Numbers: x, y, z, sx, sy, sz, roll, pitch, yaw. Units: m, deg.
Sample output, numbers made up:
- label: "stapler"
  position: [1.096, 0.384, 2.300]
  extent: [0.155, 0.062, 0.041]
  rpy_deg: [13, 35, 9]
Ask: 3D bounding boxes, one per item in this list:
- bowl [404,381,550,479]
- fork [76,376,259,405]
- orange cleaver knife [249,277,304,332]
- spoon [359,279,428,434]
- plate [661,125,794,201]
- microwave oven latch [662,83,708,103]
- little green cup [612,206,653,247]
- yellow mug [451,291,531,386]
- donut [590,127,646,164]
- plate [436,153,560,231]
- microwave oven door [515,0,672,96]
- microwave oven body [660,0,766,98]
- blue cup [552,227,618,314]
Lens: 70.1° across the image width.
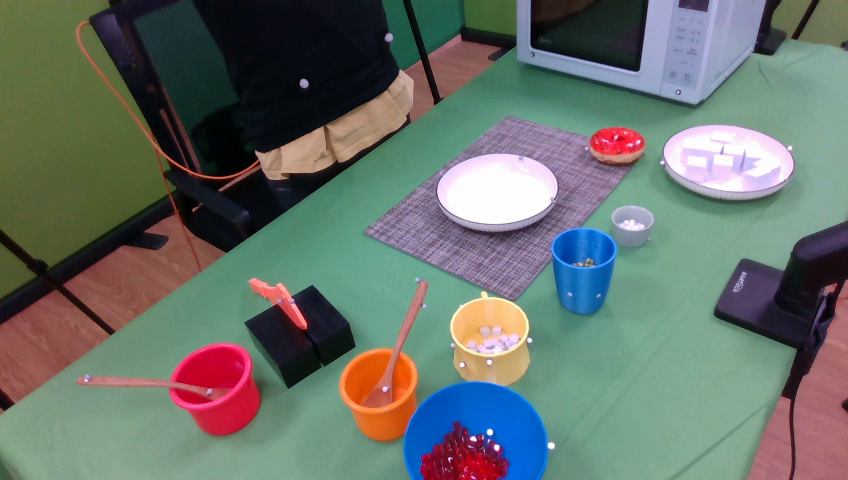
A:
- label: "bowl"
  position: [0.058, 0.235, 0.645]
  extent: [0.151, 0.077, 0.150]
  rpy_deg: [-4, 39, 4]
- label: "fork"
  position: [-0.295, 0.176, 0.716]
  extent: [0.209, 0.018, 0.028]
  rpy_deg: [19, 27, -37]
- label: "orange cleaver knife"
  position: [-0.210, 0.089, 0.855]
  extent: [0.012, 0.077, 0.210]
  rpy_deg: [-27, 14, -25]
- label: "spoon"
  position: [-0.032, 0.138, 0.719]
  extent: [0.041, 0.193, 0.022]
  rpy_deg: [22, 4, 29]
- label: "plate"
  position: [0.513, -0.128, 1.035]
  extent: [0.207, 0.039, 0.206]
  rpy_deg: [-4, 40, 4]
- label: "microwave oven latch"
  position: [0.517, -0.296, 1.204]
  extent: [0.078, 0.029, 0.030]
  rpy_deg: [28, 52, 35]
- label: "little green cup"
  position: [0.321, -0.019, 0.936]
  extent: [0.061, 0.039, 0.061]
  rpy_deg: [-4, 41, 4]
- label: "yellow mug"
  position: [0.085, 0.120, 0.786]
  extent: [0.100, 0.064, 0.130]
  rpy_deg: [-7, 39, 1]
- label: "donut"
  position: [0.353, -0.174, 1.103]
  extent: [0.099, 0.048, 0.098]
  rpy_deg: [-4, 38, 4]
- label: "plate"
  position: [0.125, -0.078, 1.029]
  extent: [0.209, 0.038, 0.208]
  rpy_deg: [-4, 40, 4]
- label: "microwave oven door"
  position: [0.344, -0.455, 1.259]
  extent: [0.353, 0.245, 0.039]
  rpy_deg: [26, 51, 33]
- label: "microwave oven body"
  position: [0.472, -0.513, 1.317]
  extent: [0.438, 0.261, 0.327]
  rpy_deg: [26, 51, 34]
- label: "blue cup"
  position: [0.217, 0.047, 0.825]
  extent: [0.092, 0.100, 0.092]
  rpy_deg: [-6, 40, 5]
